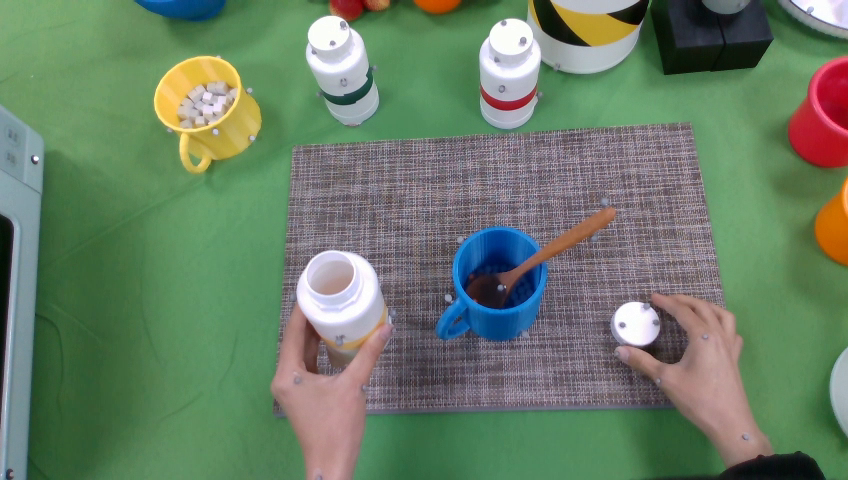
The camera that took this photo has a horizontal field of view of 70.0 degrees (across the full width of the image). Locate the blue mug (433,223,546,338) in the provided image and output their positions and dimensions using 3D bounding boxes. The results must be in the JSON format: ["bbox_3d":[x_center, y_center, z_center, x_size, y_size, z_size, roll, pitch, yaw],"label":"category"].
[{"bbox_3d":[0.056,0.051,0.569,0.116,0.106,0.082,-38,70,-9],"label":"blue mug"}]

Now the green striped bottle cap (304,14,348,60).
[{"bbox_3d":[-0.100,-0.208,0.618,0.044,0.020,0.044,-1,71,2],"label":"green striped bottle cap"}]

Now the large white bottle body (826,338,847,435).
[{"bbox_3d":[0.426,0.112,0.471,0.130,0.186,0.129,-2,69,5],"label":"large white bottle body"}]

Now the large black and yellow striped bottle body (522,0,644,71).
[{"bbox_3d":[0.174,-0.284,0.642,0.130,0.185,0.130,-2,70,5],"label":"large black and yellow striped bottle body"}]

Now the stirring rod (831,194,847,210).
[{"bbox_3d":[0.419,-0.006,0.542,0.014,0.006,0.175,0,26,3],"label":"stirring rod"}]

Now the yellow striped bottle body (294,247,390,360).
[{"bbox_3d":[-0.065,0.049,0.489,0.063,0.121,0.062,-2,61,4],"label":"yellow striped bottle body"}]

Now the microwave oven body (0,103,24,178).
[{"bbox_3d":[-0.585,0.061,0.544,0.326,0.262,0.438,-12,70,1],"label":"microwave oven body"}]

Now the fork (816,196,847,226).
[{"bbox_3d":[0.449,-0.006,0.532,0.028,0.019,0.205,-40,27,-8],"label":"fork"}]

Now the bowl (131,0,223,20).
[{"bbox_3d":[-0.303,-0.334,0.763,0.151,0.077,0.150,-2,70,5],"label":"bowl"}]

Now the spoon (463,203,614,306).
[{"bbox_3d":[0.092,0.020,0.530,0.022,0.194,0.041,-2,65,-33],"label":"spoon"}]

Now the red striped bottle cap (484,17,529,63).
[{"bbox_3d":[0.082,-0.197,0.597,0.044,0.018,0.044,0,68,2],"label":"red striped bottle cap"}]

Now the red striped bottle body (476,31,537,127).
[{"bbox_3d":[0.088,-0.178,0.645,0.063,0.120,0.062,-3,68,7],"label":"red striped bottle body"}]

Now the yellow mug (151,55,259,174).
[{"bbox_3d":[-0.253,-0.138,0.693,0.100,0.064,0.130,7,71,8],"label":"yellow mug"}]

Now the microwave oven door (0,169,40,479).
[{"bbox_3d":[-0.435,0.069,0.522,0.039,0.245,0.353,-12,69,2],"label":"microwave oven door"}]

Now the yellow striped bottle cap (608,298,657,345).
[{"bbox_3d":[0.204,0.079,0.592,0.044,0.019,0.044,-2,69,6],"label":"yellow striped bottle cap"}]

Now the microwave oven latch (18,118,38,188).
[{"bbox_3d":[-0.463,-0.097,0.693,0.030,0.030,0.078,-10,70,2],"label":"microwave oven latch"}]

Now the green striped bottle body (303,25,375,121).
[{"bbox_3d":[-0.093,-0.189,0.667,0.063,0.120,0.063,-2,69,5],"label":"green striped bottle body"}]

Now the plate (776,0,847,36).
[{"bbox_3d":[0.493,-0.318,0.701,0.209,0.038,0.207,-2,70,5],"label":"plate"}]

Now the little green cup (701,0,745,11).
[{"bbox_3d":[0.325,-0.279,0.648,0.061,0.039,0.061,-1,67,3],"label":"little green cup"}]
